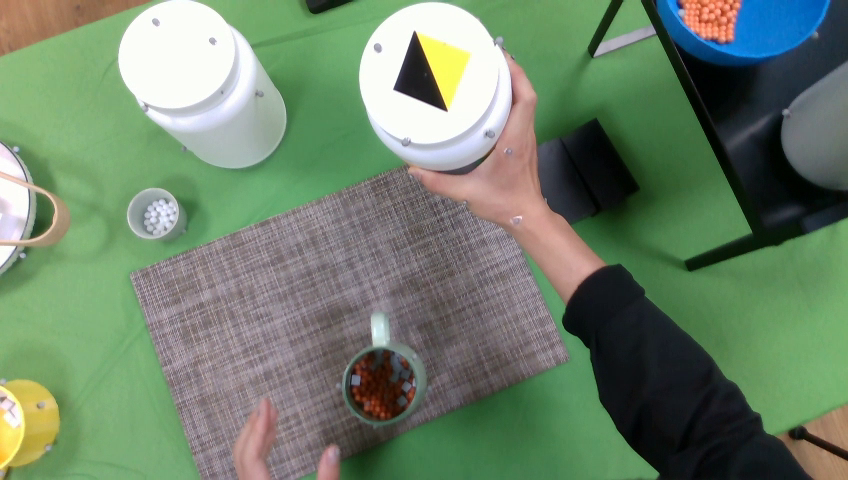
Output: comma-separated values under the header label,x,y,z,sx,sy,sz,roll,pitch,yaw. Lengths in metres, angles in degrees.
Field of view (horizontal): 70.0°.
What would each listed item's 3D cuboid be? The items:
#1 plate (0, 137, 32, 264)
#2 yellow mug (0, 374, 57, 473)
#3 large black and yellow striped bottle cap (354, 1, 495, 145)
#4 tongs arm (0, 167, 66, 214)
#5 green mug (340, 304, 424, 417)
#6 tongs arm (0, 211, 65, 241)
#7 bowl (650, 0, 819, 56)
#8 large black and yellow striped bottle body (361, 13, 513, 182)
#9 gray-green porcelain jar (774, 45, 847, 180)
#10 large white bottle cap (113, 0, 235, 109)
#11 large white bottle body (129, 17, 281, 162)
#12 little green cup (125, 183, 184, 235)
label,x,y,z,sx,sy,sz,roll,pitch,yaw
plate,-0.576,-0.042,0.734,0.208,0.039,0.207,0,82,0
yellow mug,-0.485,0.219,0.680,0.100,0.064,0.130,10,82,1
large black and yellow striped bottle cap,0.000,-0.135,0.490,0.115,0.019,0.115,0,88,8
tongs arm,-0.596,-0.106,0.712,0.387,0.028,0.028,19,75,5
green mug,-0.049,0.133,0.671,0.092,0.105,0.125,-6,81,-1
tongs arm,-0.612,-0.026,0.699,0.385,0.026,0.050,5,78,3
bowl,0.273,-0.231,0.563,0.151,0.077,0.151,0,81,-1
large black and yellow striped bottle body,0.016,-0.130,0.572,0.130,0.184,0.130,0,88,10
gray-green porcelain jar,0.379,-0.114,0.522,0.106,0.127,0.105,0,80,0
large white bottle cap,-0.246,-0.186,0.597,0.115,0.018,0.114,0,82,0
large white bottle body,-0.245,-0.173,0.680,0.130,0.185,0.130,0,81,1
little green cup,-0.323,-0.035,0.733,0.061,0.039,0.061,0,82,0
